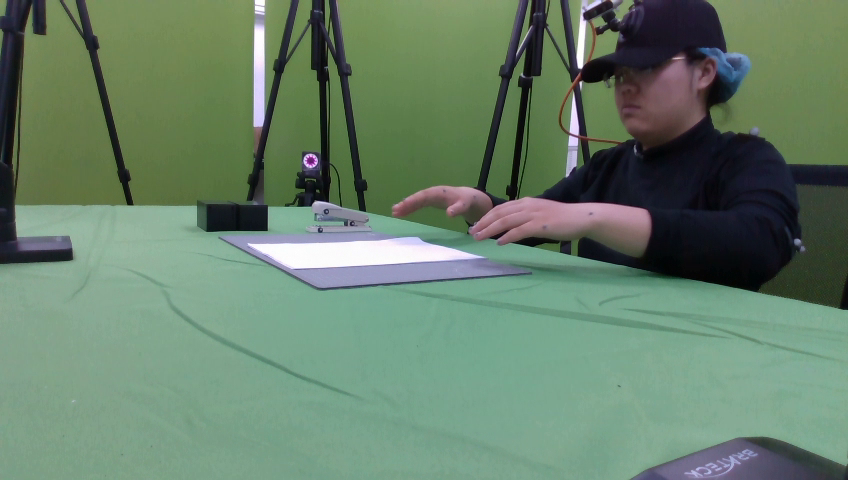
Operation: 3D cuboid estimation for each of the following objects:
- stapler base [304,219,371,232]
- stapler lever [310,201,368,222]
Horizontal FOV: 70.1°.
[{"bbox_3d":[-0.169,-0.030,1.186,0.131,0.024,0.041,0,9,-33],"label":"stapler base"},{"bbox_3d":[-0.166,-0.054,1.184,0.119,0.040,0.026,0,9,-33],"label":"stapler lever"}]
